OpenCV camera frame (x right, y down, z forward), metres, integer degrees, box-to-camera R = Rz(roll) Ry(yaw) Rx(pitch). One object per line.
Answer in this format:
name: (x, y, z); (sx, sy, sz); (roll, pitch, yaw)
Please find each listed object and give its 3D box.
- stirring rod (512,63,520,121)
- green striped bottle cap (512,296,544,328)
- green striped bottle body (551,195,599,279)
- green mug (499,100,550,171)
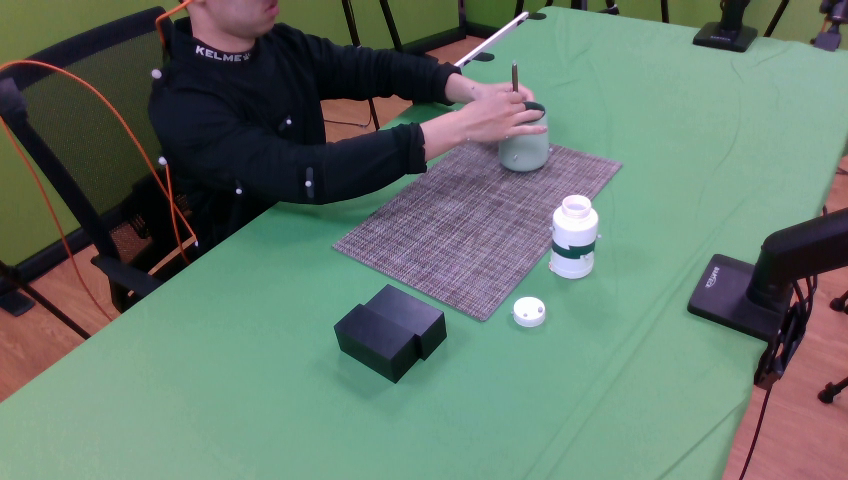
stirring rod: (0.165, -0.228, 1.072); (0.006, 0.177, 0.014); (13, 41, 28)
green striped bottle cap: (0.144, 0.099, 0.837); (0.044, 0.020, 0.044); (-1, 43, 2)
green striped bottle body: (0.217, -0.006, 0.870); (0.063, 0.120, 0.063); (-4, 41, 4)
green mug: (0.183, -0.198, 1.101); (0.092, 0.105, 0.125); (1, 41, 9)
